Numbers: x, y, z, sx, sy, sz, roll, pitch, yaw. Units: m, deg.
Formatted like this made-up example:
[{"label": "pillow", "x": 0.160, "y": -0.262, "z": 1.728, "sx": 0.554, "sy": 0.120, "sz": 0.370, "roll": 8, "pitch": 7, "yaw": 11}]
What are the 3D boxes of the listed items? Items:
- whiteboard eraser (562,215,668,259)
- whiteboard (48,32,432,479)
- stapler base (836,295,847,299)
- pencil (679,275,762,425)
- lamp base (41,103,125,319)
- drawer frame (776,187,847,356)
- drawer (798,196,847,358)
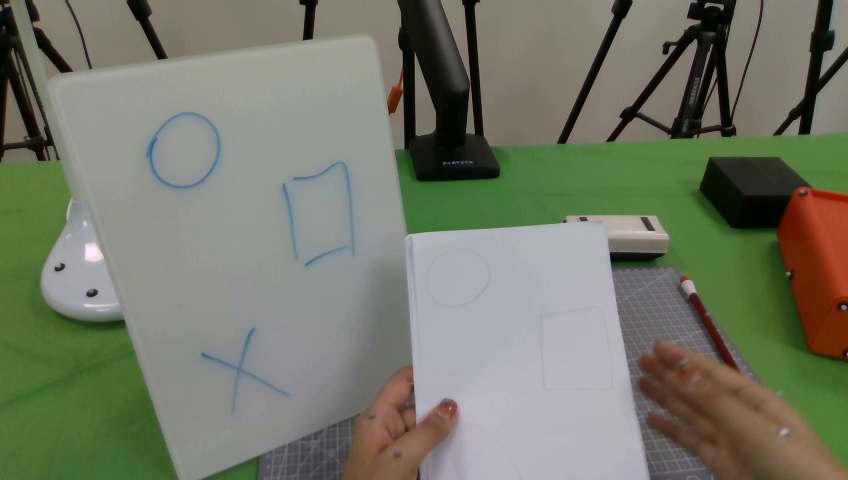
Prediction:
[{"label": "whiteboard eraser", "x": 0.224, "y": -0.004, "z": 0.715, "sx": 0.113, "sy": 0.042, "sz": 0.055, "roll": 1, "pitch": 36, "yaw": -2}, {"label": "whiteboard", "x": -0.138, "y": 0.002, "z": 0.508, "sx": 0.218, "sy": 0.307, "sz": 0.142, "roll": -17, "pitch": 21, "yaw": -23}, {"label": "stapler base", "x": 0.484, "y": 0.085, "z": 0.602, "sx": 0.129, "sy": 0.024, "sz": 0.041, "roll": 29, "pitch": 59, "yaw": 24}, {"label": "pencil", "x": 0.289, "y": 0.100, "z": 0.597, "sx": 0.012, "sy": 0.012, "sz": 0.192, "roll": 1, "pitch": 38, "yaw": -2}, {"label": "lamp base", "x": -0.327, "y": -0.039, "z": 0.610, "sx": 0.178, "sy": 0.182, "sz": 0.160, "roll": 21, "pitch": 40, "yaw": 28}, {"label": "drawer frame", "x": 0.500, "y": 0.042, "z": 0.632, "sx": 0.201, "sy": 0.083, "sz": 0.212, "roll": 10, "pitch": 36, "yaw": 12}, {"label": "drawer", "x": 0.499, "y": 0.045, "z": 0.630, "sx": 0.194, "sy": 0.074, "sz": 0.210, "roll": 11, "pitch": 36, "yaw": 13}]
